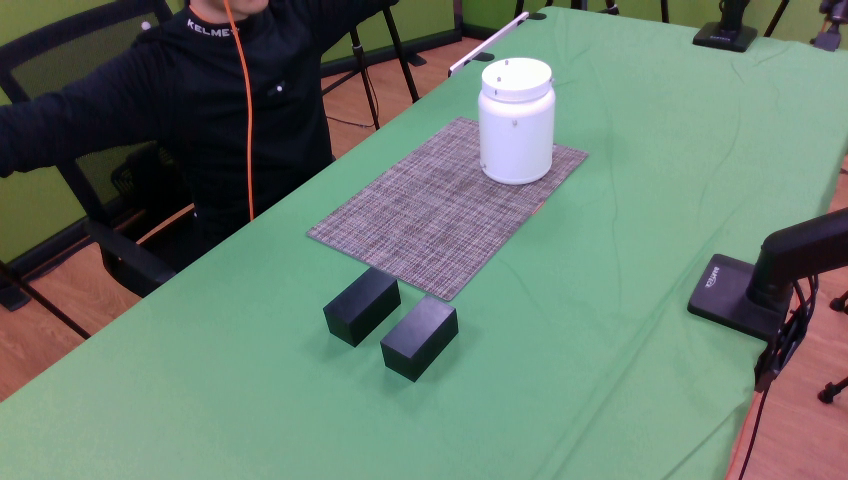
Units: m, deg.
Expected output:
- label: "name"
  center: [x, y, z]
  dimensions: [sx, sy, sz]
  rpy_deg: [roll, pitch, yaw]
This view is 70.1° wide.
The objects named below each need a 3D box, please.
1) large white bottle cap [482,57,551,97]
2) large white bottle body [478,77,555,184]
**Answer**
- label: "large white bottle cap"
  center: [0.153, -0.270, 0.999]
  dimensions: [0.115, 0.018, 0.114]
  rpy_deg: [-3, 41, 3]
- label: "large white bottle body"
  center: [0.161, -0.206, 1.054]
  dimensions: [0.130, 0.185, 0.130]
  rpy_deg: [-4, 41, 4]
